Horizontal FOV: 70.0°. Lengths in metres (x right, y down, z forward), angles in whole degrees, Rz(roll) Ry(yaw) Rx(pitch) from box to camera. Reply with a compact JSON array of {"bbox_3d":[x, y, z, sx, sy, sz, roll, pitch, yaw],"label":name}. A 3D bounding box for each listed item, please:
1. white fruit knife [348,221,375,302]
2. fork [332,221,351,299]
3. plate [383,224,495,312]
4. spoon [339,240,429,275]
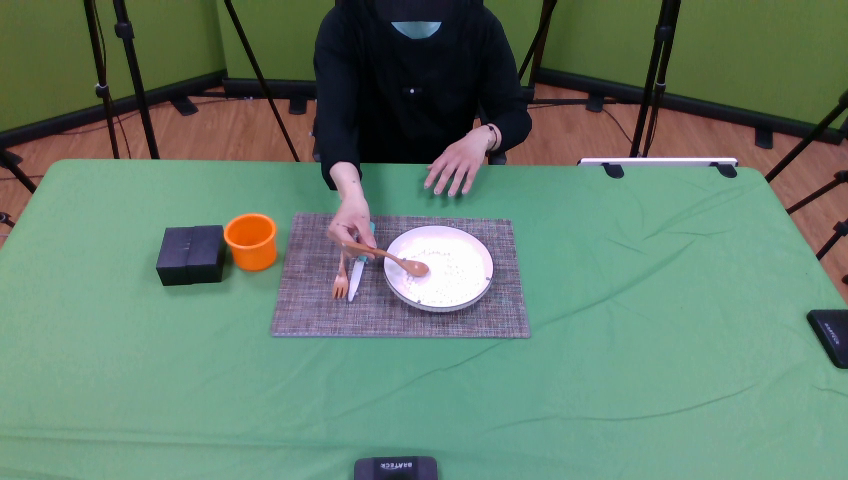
[{"bbox_3d":[-0.119,0.037,1.153,0.027,0.016,0.206,-16,42,25],"label":"white fruit knife"},{"bbox_3d":[-0.153,0.034,1.149,0.028,0.019,0.206,-7,47,7],"label":"fork"},{"bbox_3d":[0.026,0.055,1.128,0.209,0.038,0.208,2,46,-2],"label":"plate"},{"bbox_3d":[-0.068,0.028,1.081,0.195,0.021,0.041,24,28,-37],"label":"spoon"}]
